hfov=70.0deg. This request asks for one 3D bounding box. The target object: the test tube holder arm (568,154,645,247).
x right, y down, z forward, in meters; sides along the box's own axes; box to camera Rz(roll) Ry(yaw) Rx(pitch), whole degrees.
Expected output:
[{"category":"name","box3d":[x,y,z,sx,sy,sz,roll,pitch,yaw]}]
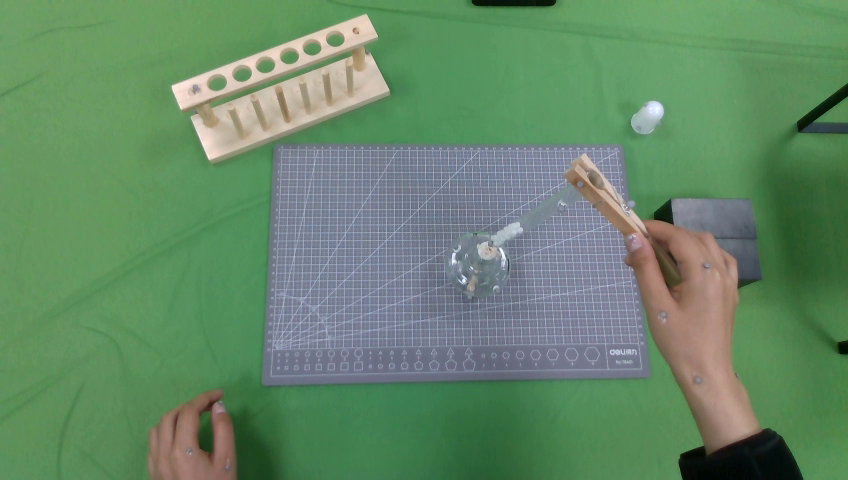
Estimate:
[{"category":"test tube holder arm","box3d":[0.146,-0.031,0.484,0.088,0.015,0.010,48,36,-12]}]

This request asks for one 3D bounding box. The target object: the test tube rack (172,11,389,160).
[{"category":"test tube rack","box3d":[-0.167,-0.187,0.741,0.242,0.085,0.066,-24,77,-10]}]

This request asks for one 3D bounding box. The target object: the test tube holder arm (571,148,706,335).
[{"category":"test tube holder arm","box3d":[0.176,0.002,0.493,0.178,0.015,0.013,54,36,-3]}]

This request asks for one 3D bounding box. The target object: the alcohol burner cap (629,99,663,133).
[{"category":"alcohol burner cap","box3d":[0.291,-0.164,0.787,0.034,0.048,0.033,1,74,-2]}]

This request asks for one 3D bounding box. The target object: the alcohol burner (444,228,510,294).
[{"category":"alcohol burner","box3d":[0.062,0.020,0.681,0.078,0.119,0.077,1,75,-4]}]

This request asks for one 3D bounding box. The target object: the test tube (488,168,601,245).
[{"category":"test tube","box3d":[0.102,-0.026,0.542,0.017,0.150,0.017,11,65,-25]}]
